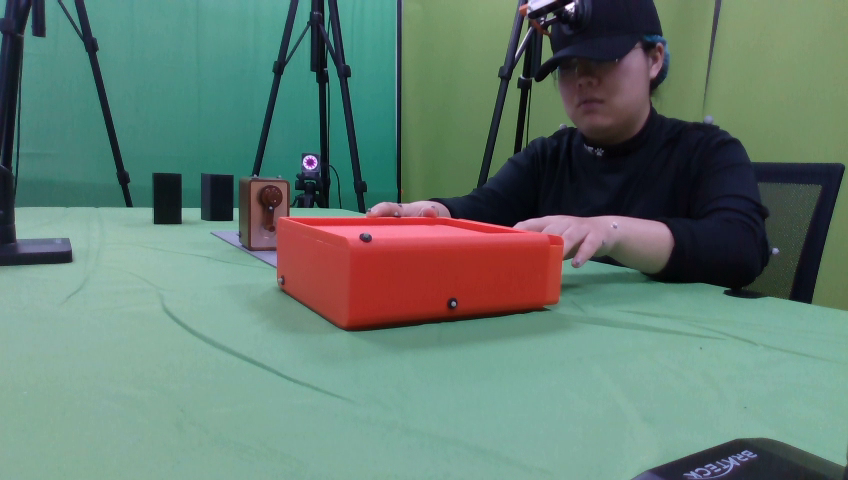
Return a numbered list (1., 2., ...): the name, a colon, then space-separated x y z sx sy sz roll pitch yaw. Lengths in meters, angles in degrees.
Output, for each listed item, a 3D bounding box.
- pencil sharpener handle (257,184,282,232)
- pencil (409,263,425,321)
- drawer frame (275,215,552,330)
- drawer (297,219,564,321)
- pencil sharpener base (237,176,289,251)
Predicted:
1. pencil sharpener handle: -0.220 -0.046 0.865 0.036 0.067 0.030 8 4 -29
2. pencil: -0.007 0.051 0.624 0.012 0.012 0.194 3 12 1
3. drawer frame: -0.017 0.022 0.610 0.215 0.082 0.200 -2 9 -31
4. drawer: 0.000 0.022 0.622 0.213 0.073 0.193 -2 9 -30
5. pencil sharpener base: -0.243 -0.040 0.911 0.061 0.107 0.076 -1 8 -28
